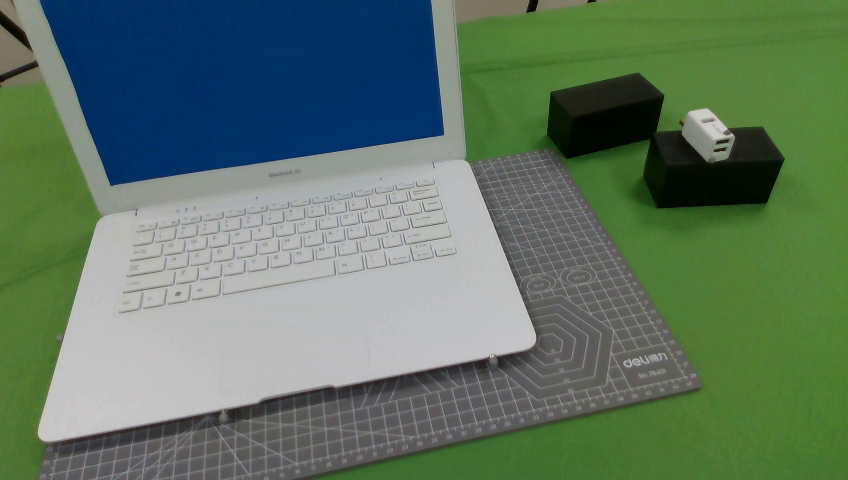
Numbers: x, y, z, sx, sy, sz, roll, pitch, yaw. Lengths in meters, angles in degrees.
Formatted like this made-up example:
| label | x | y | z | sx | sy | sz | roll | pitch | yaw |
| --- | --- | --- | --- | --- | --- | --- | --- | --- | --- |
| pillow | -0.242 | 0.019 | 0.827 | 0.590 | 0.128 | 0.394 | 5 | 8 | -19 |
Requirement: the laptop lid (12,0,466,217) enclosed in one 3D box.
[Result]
| label | x | y | z | sx | sy | sz | roll | pitch | yaw |
| --- | --- | --- | --- | --- | --- | --- | --- | --- | --- |
| laptop lid | -0.143 | -0.148 | 0.532 | 0.357 | 0.243 | 0.013 | -11 | 30 | -5 |

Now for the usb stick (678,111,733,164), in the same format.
| label | x | y | z | sx | sy | sz | roll | pitch | yaw |
| --- | --- | --- | --- | --- | --- | --- | --- | --- | --- |
| usb stick | 0.244 | -0.095 | 0.533 | 0.021 | 0.027 | 0.058 | -12 | 42 | -4 |

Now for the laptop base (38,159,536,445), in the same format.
| label | x | y | z | sx | sy | sz | roll | pitch | yaw |
| --- | --- | --- | --- | --- | --- | --- | --- | --- | --- |
| laptop base | -0.109 | 0.033 | 0.506 | 0.355 | 0.023 | 0.233 | -10 | 47 | -6 |
